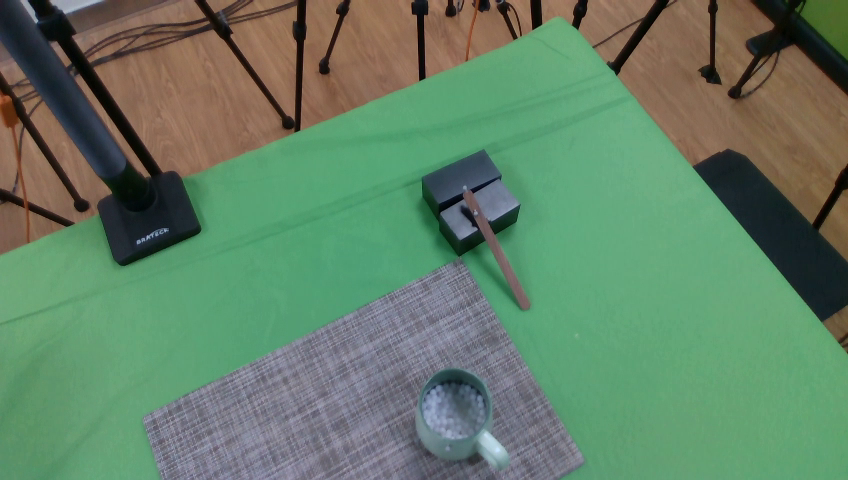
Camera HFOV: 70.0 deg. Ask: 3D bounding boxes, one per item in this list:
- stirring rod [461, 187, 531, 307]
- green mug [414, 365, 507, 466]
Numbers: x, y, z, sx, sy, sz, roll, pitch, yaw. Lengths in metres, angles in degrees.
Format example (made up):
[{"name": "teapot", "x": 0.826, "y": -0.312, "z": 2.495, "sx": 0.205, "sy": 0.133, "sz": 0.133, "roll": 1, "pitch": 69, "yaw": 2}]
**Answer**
[{"name": "stirring rod", "x": 0.095, "y": 0.010, "z": 0.799, "sx": 0.014, "sy": 0.006, "sz": 0.176, "roll": -28, "pitch": 91, "yaw": -1}, {"name": "green mug", "x": 0.045, "y": 0.205, "z": 0.686, "sx": 0.124, "sy": 0.106, "sz": 0.092, "roll": 41, "pitch": 71, "yaw": 19}]
